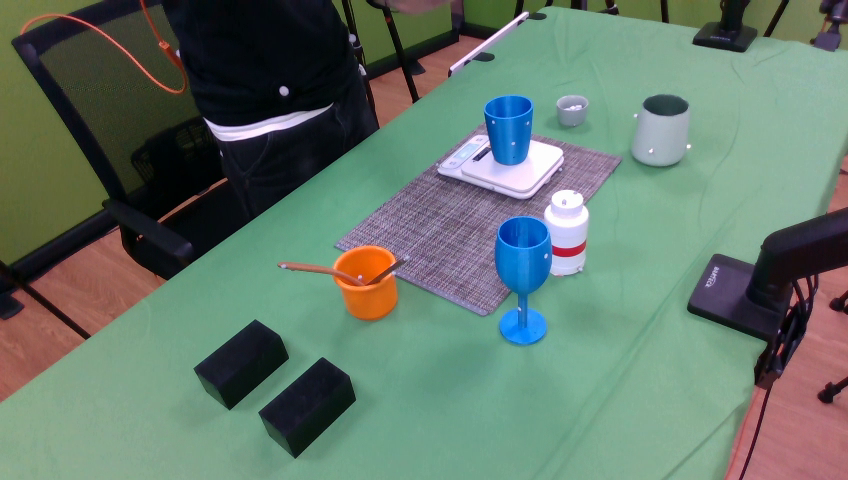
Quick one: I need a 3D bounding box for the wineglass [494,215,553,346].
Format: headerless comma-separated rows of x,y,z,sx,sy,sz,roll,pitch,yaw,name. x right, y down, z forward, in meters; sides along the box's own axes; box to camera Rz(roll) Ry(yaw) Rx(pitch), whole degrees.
0.126,0.055,0.770,0.074,0.173,0.073,-4,40,4,wineglass

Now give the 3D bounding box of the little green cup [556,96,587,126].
0.295,-0.258,1.214,0.061,0.039,0.061,-4,42,4,little green cup

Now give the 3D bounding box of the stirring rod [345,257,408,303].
-0.067,0.057,0.815,0.014,0.175,0.006,-24,82,-38,stirring rod

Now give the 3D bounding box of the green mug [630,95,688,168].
0.421,-0.201,1.081,0.092,0.105,0.125,5,42,15,green mug

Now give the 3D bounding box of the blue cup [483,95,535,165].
0.148,-0.188,1.053,0.092,0.100,0.092,-6,39,5,blue cup

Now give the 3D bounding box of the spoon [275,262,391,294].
-0.120,0.050,0.830,0.041,0.195,0.021,32,97,45,spoon

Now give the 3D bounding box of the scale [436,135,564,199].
0.137,-0.142,1.101,0.199,0.032,0.149,22,48,30,scale

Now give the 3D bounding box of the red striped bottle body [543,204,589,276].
0.205,-0.011,0.877,0.063,0.120,0.062,-5,41,4,red striped bottle body

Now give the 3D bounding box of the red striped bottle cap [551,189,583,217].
0.200,-0.052,0.843,0.044,0.018,0.044,-2,42,2,red striped bottle cap
